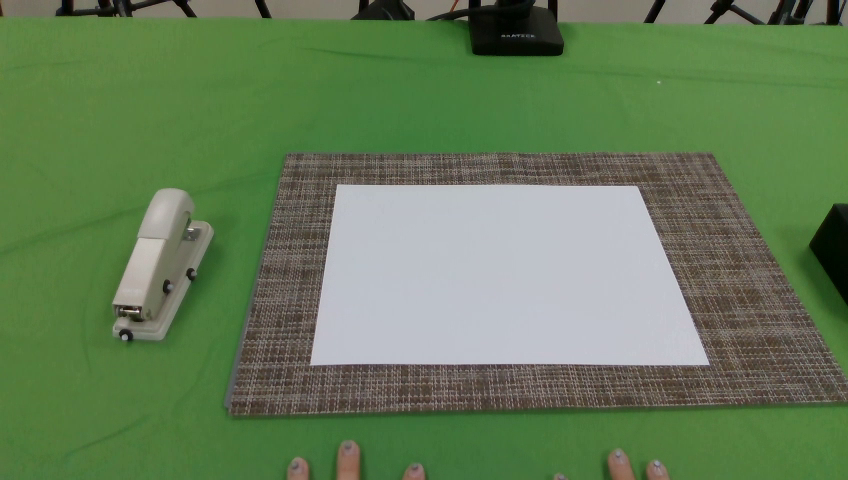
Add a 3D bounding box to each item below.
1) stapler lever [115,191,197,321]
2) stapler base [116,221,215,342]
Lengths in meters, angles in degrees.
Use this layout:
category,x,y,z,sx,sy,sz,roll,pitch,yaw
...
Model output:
category,x,y,z,sx,sy,sz,roll,pitch,yaw
stapler lever,-0.213,0.009,0.483,0.027,0.040,0.117,2,46,4
stapler base,-0.213,0.025,0.503,0.041,0.024,0.129,3,46,4
